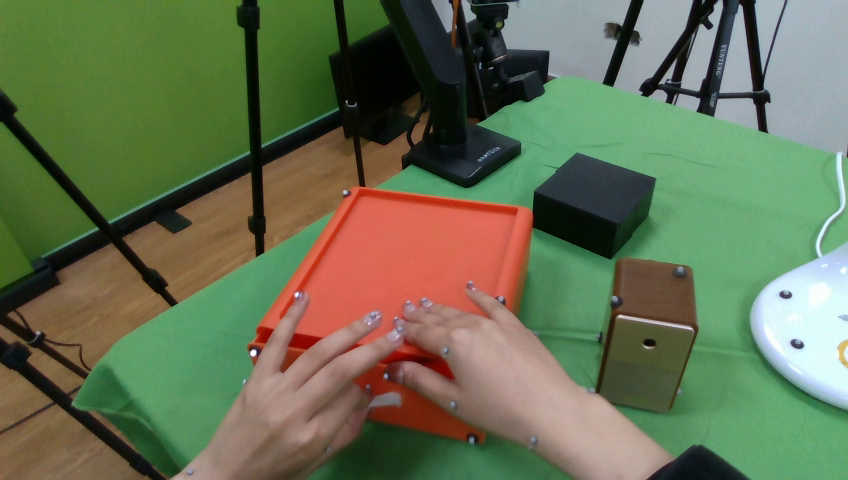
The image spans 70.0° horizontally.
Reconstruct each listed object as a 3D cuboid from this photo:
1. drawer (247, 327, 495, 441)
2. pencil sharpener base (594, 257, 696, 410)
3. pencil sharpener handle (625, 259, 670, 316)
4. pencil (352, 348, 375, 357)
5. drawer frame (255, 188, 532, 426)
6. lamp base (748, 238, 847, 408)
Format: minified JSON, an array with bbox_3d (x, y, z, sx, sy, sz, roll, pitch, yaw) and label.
[{"bbox_3d":[-0.021,0.067,0.560,0.194,0.074,0.210,7,34,13],"label":"drawer"},{"bbox_3d":[0.179,0.077,0.500,0.061,0.108,0.076,8,40,14],"label":"pencil sharpener base"},{"bbox_3d":[0.191,0.036,0.530,0.036,0.068,0.030,12,41,10],"label":"pencil sharpener handle"},{"bbox_3d":[-0.026,0.086,0.535,0.194,0.012,0.012,-26,43,-11],"label":"pencil"},{"bbox_3d":[-0.014,0.049,0.567,0.201,0.083,0.212,7,39,13],"label":"drawer frame"},{"bbox_3d":[0.374,0.020,0.500,0.160,0.182,0.178,6,38,11],"label":"lamp base"}]
